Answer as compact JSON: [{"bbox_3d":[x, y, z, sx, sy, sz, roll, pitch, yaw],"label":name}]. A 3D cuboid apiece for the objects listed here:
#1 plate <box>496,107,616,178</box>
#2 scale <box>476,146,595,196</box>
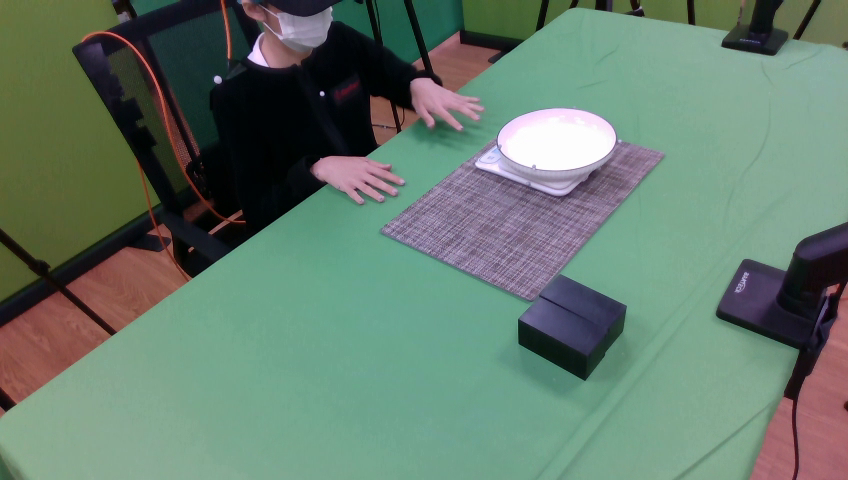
[{"bbox_3d":[0.232,-0.169,1.074,0.207,0.039,0.206,-5,41,5],"label":"plate"},{"bbox_3d":[0.209,-0.149,1.105,0.199,0.032,0.149,26,50,34],"label":"scale"}]
